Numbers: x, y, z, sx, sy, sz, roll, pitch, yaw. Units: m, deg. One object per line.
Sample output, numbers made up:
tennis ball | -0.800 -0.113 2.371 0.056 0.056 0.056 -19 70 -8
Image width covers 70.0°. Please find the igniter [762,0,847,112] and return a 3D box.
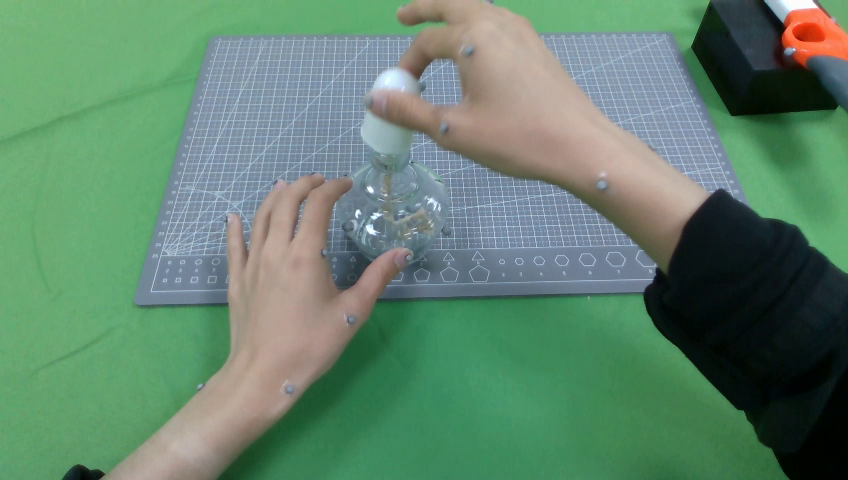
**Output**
igniter | 0.321 -0.185 0.513 0.057 0.025 0.273 -6 52 -2

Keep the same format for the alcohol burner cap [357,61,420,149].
alcohol burner cap | -0.019 -0.080 0.347 0.034 0.048 0.033 9 46 -9

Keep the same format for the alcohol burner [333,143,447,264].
alcohol burner | -0.023 -0.037 0.400 0.078 0.120 0.077 0 56 0
